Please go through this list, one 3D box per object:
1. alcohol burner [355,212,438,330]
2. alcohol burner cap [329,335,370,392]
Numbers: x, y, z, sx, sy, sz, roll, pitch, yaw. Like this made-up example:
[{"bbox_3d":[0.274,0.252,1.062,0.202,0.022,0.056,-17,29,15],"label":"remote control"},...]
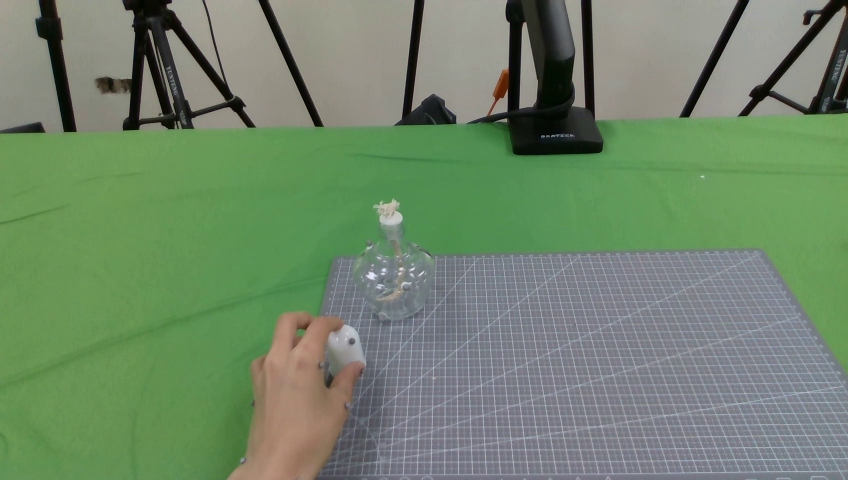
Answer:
[{"bbox_3d":[-0.026,0.024,0.552,0.078,0.120,0.077,-1,38,1],"label":"alcohol burner"},{"bbox_3d":[-0.064,0.101,0.510,0.034,0.048,0.033,-2,37,1],"label":"alcohol burner cap"}]
